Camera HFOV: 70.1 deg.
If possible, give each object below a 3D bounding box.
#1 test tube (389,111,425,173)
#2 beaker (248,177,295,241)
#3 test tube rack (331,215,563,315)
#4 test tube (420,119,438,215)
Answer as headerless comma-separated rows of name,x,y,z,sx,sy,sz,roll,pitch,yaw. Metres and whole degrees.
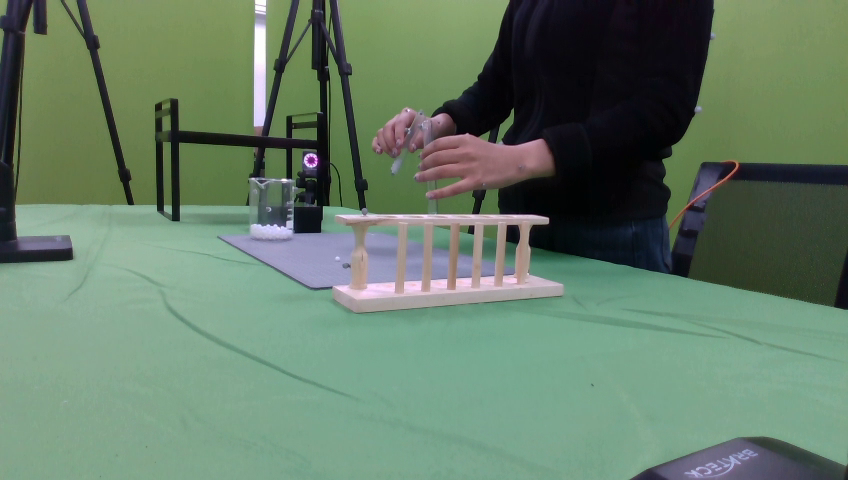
test tube,-0.030,-0.154,0.978,0.017,0.017,0.150,-1,-28,-23
beaker,-0.252,-0.051,0.992,0.074,0.100,0.084,3,9,6
test tube rack,0.031,0.019,0.625,0.243,0.085,0.066,-1,8,-28
test tube,0.008,-0.107,0.894,0.017,0.150,0.017,-4,-12,-1
